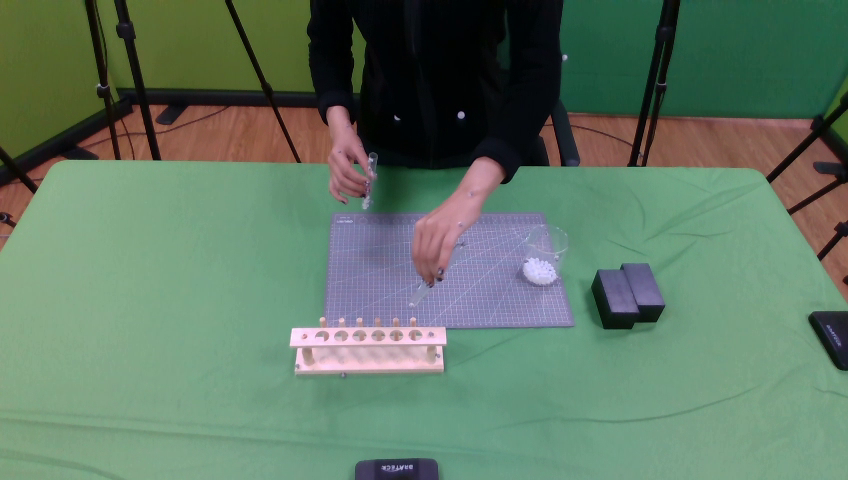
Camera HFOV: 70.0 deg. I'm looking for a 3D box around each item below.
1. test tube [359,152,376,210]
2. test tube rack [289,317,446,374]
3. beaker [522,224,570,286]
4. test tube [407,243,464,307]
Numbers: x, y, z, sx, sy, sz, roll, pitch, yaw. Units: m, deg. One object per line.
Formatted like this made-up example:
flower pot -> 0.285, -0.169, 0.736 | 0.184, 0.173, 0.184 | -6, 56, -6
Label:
test tube -> -0.102, -0.103, 1.089 | 0.017, 0.151, 0.017 | 6, 54, -9
test tube rack -> -0.089, 0.167, 0.987 | 0.242, 0.085, 0.066 | 0, 46, -4
beaker -> 0.221, 0.032, 1.129 | 0.084, 0.101, 0.073 | -6, 46, -9
test tube -> 0.016, 0.054, 0.916 | 0.017, 0.150, 0.017 | 23, 39, -20
